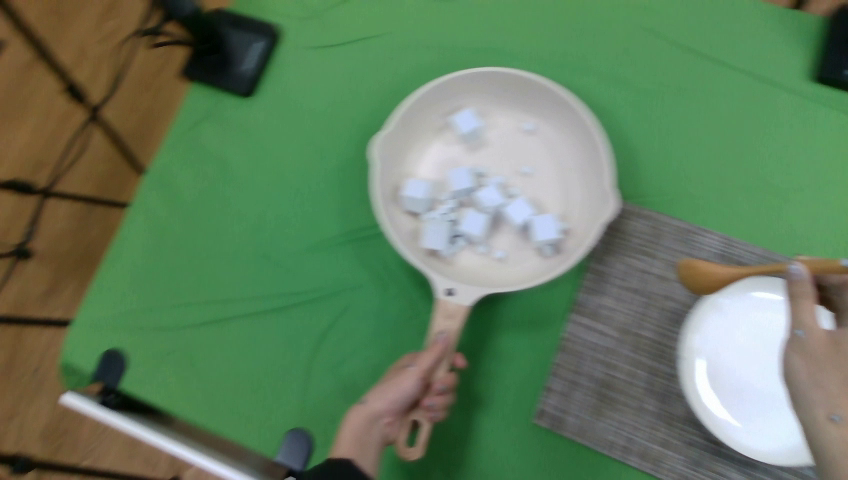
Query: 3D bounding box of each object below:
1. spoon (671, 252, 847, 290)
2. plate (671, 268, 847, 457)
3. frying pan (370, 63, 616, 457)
[{"bbox_3d":[0.289,0.022,0.515,0.021,0.193,0.042,-31,99,-30],"label":"spoon"},{"bbox_3d":[0.385,0.135,0.687,0.207,0.039,0.206,-2,75,7],"label":"plate"},{"bbox_3d":[0.048,0.014,0.726,0.306,0.103,0.485,17,70,11],"label":"frying pan"}]
